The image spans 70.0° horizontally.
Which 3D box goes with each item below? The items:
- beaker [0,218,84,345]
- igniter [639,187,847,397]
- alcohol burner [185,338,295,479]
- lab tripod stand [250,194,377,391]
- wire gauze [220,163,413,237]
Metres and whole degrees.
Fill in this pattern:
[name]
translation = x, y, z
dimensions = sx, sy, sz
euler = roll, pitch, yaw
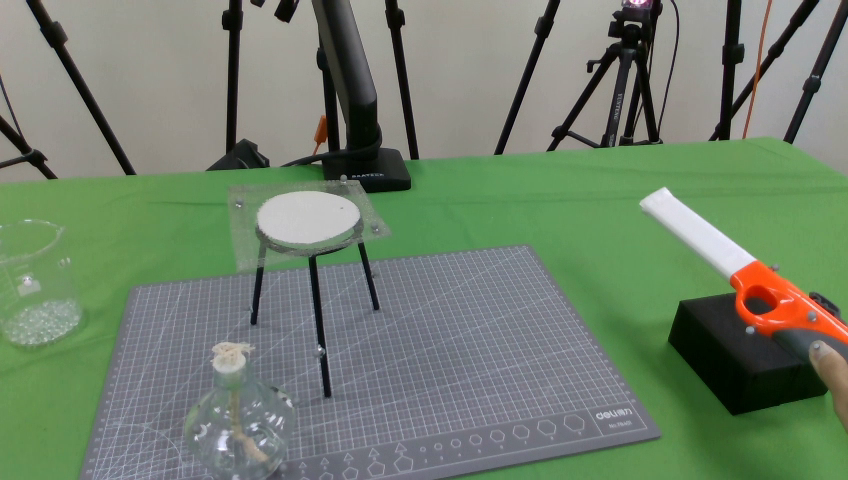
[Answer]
[beaker]
translation = -0.364, 0.039, 0.563
dimensions = 0.073, 0.101, 0.084
euler = 23, 38, 28
[igniter]
translation = 0.274, 0.034, 0.508
dimensions = 0.057, 0.025, 0.273
euler = -31, 40, 1
[alcohol burner]
translation = -0.133, 0.117, 0.437
dimensions = 0.078, 0.120, 0.077
euler = 3, 32, -2
[lab tripod stand]
translation = -0.097, 0.039, 0.543
dimensions = 0.148, 0.132, 0.147
euler = 3, 33, -2
[wire gauze]
translation = -0.090, -0.034, 0.503
dimensions = 0.125, 0.011, 0.120
euler = -15, 31, -37
